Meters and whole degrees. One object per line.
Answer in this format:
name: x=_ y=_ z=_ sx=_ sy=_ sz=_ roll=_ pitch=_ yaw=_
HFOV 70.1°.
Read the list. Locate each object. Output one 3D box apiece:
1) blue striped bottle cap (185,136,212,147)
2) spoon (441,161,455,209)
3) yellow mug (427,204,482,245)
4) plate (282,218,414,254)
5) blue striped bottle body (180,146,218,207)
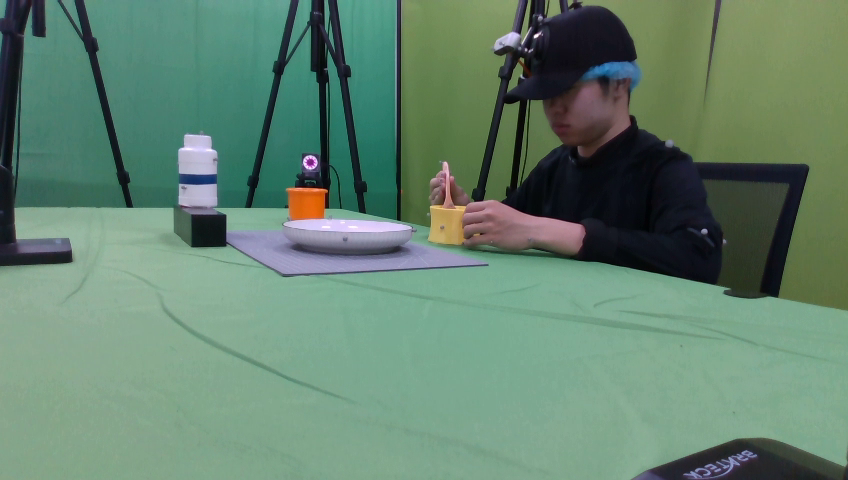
blue striped bottle cap: x=-0.390 y=-0.169 z=1.047 sx=0.044 sy=0.020 sz=0.044 roll=4 pitch=10 yaw=0
spoon: x=0.045 y=-0.095 z=1.171 sx=0.041 sy=0.021 sz=0.193 roll=0 pitch=47 yaw=-1
yellow mug: x=0.062 y=-0.028 z=1.112 sx=0.100 sy=0.064 sz=0.130 roll=0 pitch=9 yaw=-20
plate: x=-0.121 y=-0.007 z=0.971 sx=0.208 sy=0.039 sz=0.207 roll=2 pitch=7 yaw=0
blue striped bottle body: x=-0.392 y=-0.118 z=1.053 sx=0.063 sy=0.120 sz=0.063 roll=2 pitch=8 yaw=0
